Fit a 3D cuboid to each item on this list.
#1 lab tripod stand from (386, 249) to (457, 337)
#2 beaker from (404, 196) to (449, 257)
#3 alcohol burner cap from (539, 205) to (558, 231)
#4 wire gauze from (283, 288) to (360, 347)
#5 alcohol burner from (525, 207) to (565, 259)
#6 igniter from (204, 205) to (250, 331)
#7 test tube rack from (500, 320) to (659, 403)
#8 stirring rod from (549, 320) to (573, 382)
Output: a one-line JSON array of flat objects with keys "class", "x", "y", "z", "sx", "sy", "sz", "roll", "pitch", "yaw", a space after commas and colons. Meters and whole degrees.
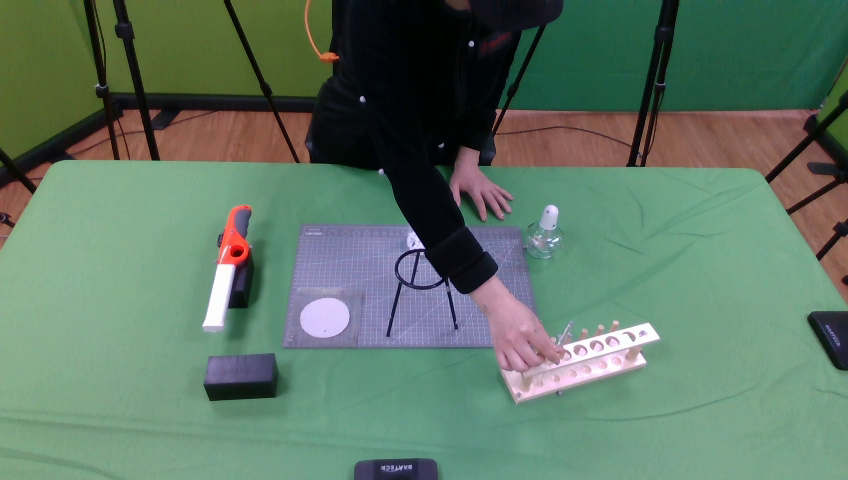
[{"class": "lab tripod stand", "x": -0.010, "y": 0.087, "z": 1.032, "sx": 0.148, "sy": 0.132, "sz": 0.147, "roll": 1, "pitch": 45, "yaw": -1}, {"class": "beaker", "x": 0.002, "y": -0.023, "z": 1.164, "sx": 0.084, "sy": 0.101, "sz": 0.073, "roll": 6, "pitch": 46, "yaw": 0}, {"class": "alcohol burner cap", "x": 0.239, "y": -0.045, "z": 1.148, "sx": 0.034, "sy": 0.048, "sz": 0.033, "roll": 2, "pitch": 43, "yaw": -1}, {"class": "wire gauze", "x": -0.177, "y": 0.132, "z": 1.062, "sx": 0.125, "sy": 0.011, "sz": 0.120, "roll": 2, "pitch": 47, "yaw": 1}, {"class": "alcohol burner", "x": 0.236, "y": -0.020, "z": 1.174, "sx": 0.078, "sy": 0.120, "sz": 0.077, "roll": 1, "pitch": 48, "yaw": -1}, {"class": "igniter", "x": -0.344, "y": 0.039, "z": 1.064, "sx": 0.057, "sy": 0.025, "sz": 0.274, "roll": 2, "pitch": 48, "yaw": -6}, {"class": "test tube rack", "x": 0.253, "y": 0.187, "z": 0.994, "sx": 0.243, "sy": 0.085, "sz": 0.066, "roll": -12, "pitch": 48, "yaw": -15}, {"class": "stirring rod", "x": 0.201, "y": 0.168, "z": 0.900, "sx": 0.006, "sy": 0.177, "sz": 0.014, "roll": -8, "pitch": 53, "yaw": -6}]
